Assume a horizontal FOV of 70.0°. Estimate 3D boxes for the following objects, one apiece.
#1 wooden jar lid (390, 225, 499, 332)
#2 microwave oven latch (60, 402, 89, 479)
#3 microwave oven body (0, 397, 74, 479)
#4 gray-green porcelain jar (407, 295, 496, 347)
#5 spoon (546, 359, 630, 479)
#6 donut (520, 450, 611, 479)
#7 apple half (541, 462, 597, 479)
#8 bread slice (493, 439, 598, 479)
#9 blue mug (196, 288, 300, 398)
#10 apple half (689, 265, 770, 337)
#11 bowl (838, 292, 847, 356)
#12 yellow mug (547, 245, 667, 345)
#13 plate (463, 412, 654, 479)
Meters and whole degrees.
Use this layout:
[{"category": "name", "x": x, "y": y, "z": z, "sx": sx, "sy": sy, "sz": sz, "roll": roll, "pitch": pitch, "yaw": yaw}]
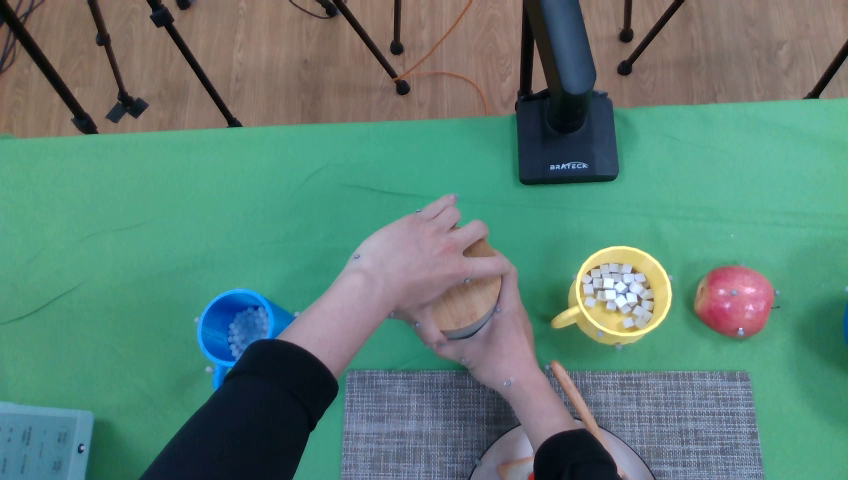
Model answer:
[{"category": "wooden jar lid", "x": 0.020, "y": 0.039, "z": 0.604, "sx": 0.108, "sy": 0.021, "sz": 0.107, "roll": -2, "pitch": 71, "yaw": 6}, {"category": "microwave oven latch", "x": -0.402, "y": 0.224, "z": 0.681, "sx": 0.030, "sy": 0.030, "sz": 0.078, "roll": 4, "pitch": 74, "yaw": 7}, {"category": "microwave oven body", "x": -0.562, "y": 0.366, "z": 0.552, "sx": 0.326, "sy": 0.262, "sz": 0.439, "roll": -1, "pitch": 73, "yaw": 5}, {"category": "gray-green porcelain jar", "x": 0.027, "y": 0.058, "z": 0.663, "sx": 0.106, "sy": 0.127, "sz": 0.105, "roll": -2, "pitch": 71, "yaw": 5}, {"category": "spoon", "x": 0.179, "y": 0.210, "z": 0.626, "sx": 0.041, "sy": 0.022, "sz": 0.193, "roll": -26, "pitch": 81, "yaw": -5}, {"category": "donut", "x": 0.141, "y": 0.260, "z": 0.601, "sx": 0.099, "sy": 0.048, "sz": 0.098, "roll": -1, "pitch": 71, "yaw": 4}, {"category": "apple half", "x": 0.136, "y": 0.250, "z": 0.564, "sx": 0.081, "sy": 0.033, "sz": 0.080, "roll": -5, "pitch": 67, "yaw": 11}, {"category": "bread slice", "x": 0.143, "y": 0.283, "z": 0.623, "sx": 0.107, "sy": 0.018, "sz": 0.133, "roll": -18, "pitch": 73, "yaw": 1}, {"category": "blue mug", "x": -0.200, "y": 0.121, "z": 0.677, "sx": 0.082, "sy": 0.106, "sz": 0.116, "roll": 19, "pitch": 75, "yaw": 12}, {"category": "apple half", "x": 0.340, "y": 0.063, "z": 0.668, "sx": 0.074, "sy": 0.054, "sz": 0.080, "roll": 20, "pitch": 76, "yaw": 14}, {"category": "bowl", "x": 0.499, "y": 0.097, "z": 0.627, "sx": 0.151, "sy": 0.077, "sz": 0.150, "roll": -2, "pitch": 73, "yaw": 6}, {"category": "yellow mug", "x": 0.197, "y": 0.069, "z": 0.674, "sx": 0.131, "sy": 0.064, "sz": 0.099, "roll": -24, "pitch": 72, "yaw": -1}, {"category": "plate", "x": 0.137, "y": 0.285, "z": 0.623, "sx": 0.207, "sy": 0.039, "sz": 0.206, "roll": -2, "pitch": 73, "yaw": 5}]
